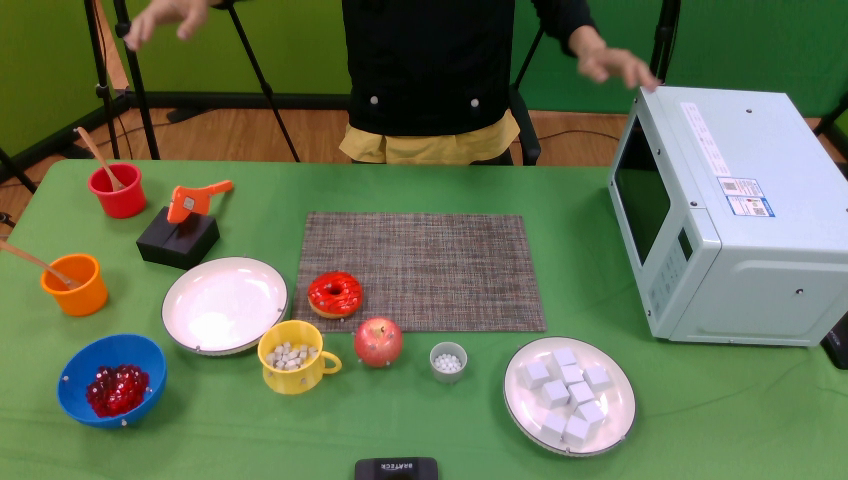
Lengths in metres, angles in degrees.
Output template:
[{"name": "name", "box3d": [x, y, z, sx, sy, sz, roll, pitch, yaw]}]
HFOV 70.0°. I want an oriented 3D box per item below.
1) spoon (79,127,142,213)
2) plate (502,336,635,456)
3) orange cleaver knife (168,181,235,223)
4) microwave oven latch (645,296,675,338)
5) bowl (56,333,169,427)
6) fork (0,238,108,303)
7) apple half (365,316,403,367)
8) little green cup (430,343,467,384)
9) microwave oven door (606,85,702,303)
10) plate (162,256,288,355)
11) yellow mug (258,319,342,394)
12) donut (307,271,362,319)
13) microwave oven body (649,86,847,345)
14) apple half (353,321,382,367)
[{"name": "spoon", "box3d": [-0.624, -0.139, 1.203, 0.041, 0.021, 0.194, -33, 100, -25]}, {"name": "plate", "box3d": [0.225, 0.248, 0.963, 0.208, 0.039, 0.206, 2, 46, -2]}, {"name": "orange cleaver knife", "box3d": [-0.436, -0.078, 1.196, 0.012, 0.077, 0.211, 16, 15, 10]}, {"name": "microwave oven latch", "box3d": [0.411, 0.134, 1.061, 0.030, 0.029, 0.078, 4, 45, 1]}, {"name": "bowl", "box3d": [-0.456, 0.223, 0.911, 0.151, 0.077, 0.150, 3, 46, -2]}, {"name": "fork", "box3d": [-0.633, 0.048, 1.017, 0.208, 0.018, 0.028, 40, 41, -27]}, {"name": "apple half", "box3d": [-0.063, 0.165, 1.000, 0.053, 0.075, 0.080, -16, 45, -24]}, {"name": "little green cup", "box3d": [0.039, 0.203, 0.994, 0.061, 0.039, 0.061, 2, 46, -2]}, {"name": "microwave oven door", "box3d": [0.423, -0.094, 1.140, 0.039, 0.245, 0.353, 2, 46, -1]}, {"name": "plate", "box3d": [-0.341, 0.115, 1.051, 0.209, 0.038, 0.208, 3, 46, -2]}, {"name": "yellow mug", "box3d": [-0.196, 0.189, 0.972, 0.131, 0.064, 0.099, 9, 46, 4]}, {"name": "donut", "box3d": [-0.157, 0.097, 1.072, 0.099, 0.048, 0.098, 3, 45, -3]}, {"name": "microwave oven body", "box3d": [0.567, -0.053, 1.118, 0.326, 0.261, 0.439, 2, 45, -1]}, {"name": "apple half", "box3d": [-0.098, 0.177, 0.984, 0.033, 0.081, 0.081, -17, 49, -25]}]
